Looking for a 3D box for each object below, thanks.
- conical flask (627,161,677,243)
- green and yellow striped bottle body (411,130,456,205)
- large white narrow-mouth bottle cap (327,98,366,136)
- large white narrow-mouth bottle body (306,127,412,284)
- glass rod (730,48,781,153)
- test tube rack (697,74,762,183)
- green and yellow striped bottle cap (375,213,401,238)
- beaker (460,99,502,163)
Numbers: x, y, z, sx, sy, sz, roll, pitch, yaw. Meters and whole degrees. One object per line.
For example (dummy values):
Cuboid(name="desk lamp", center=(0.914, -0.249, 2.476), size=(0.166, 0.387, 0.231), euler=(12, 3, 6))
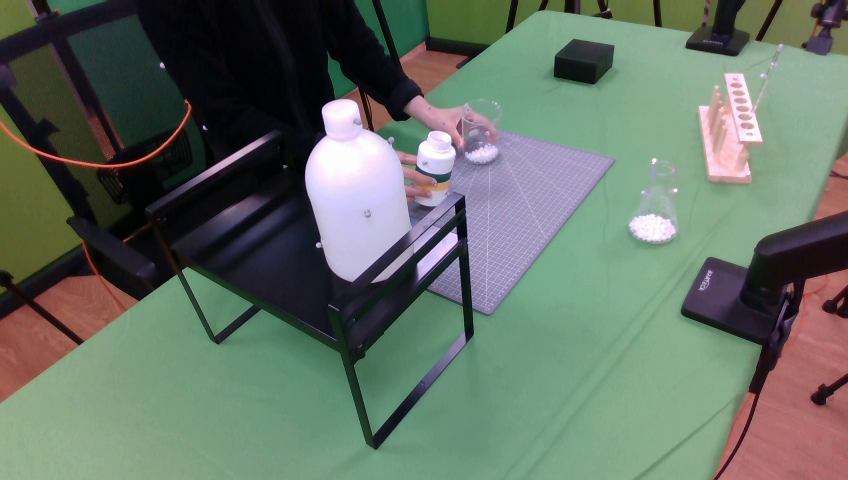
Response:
Cuboid(name="conical flask", center=(0.355, -0.061, 0.921), size=(0.075, 0.122, 0.075), euler=(-4, 41, 4))
Cuboid(name="green and yellow striped bottle body", center=(0.017, -0.123, 1.013), size=(0.063, 0.120, 0.063), euler=(7, 39, -5))
Cuboid(name="large white narrow-mouth bottle cap", center=(-0.075, -0.118, 0.581), size=(0.038, 0.024, 0.037), euler=(-3, 40, 3))
Cuboid(name="large white narrow-mouth bottle body", center=(-0.070, -0.051, 0.637), size=(0.102, 0.195, 0.101), euler=(-3, 40, 3))
Cuboid(name="glass rod", center=(0.554, -0.228, 1.015), size=(0.008, 0.200, 0.008), euler=(1, 44, -1))
Cuboid(name="test tube rack", center=(0.547, -0.208, 1.095), size=(0.066, 0.085, 0.242), euler=(5, 42, 15))
Cuboid(name="green and yellow striped bottle cap", center=(-0.061, -0.025, 1.016), size=(0.045, 0.020, 0.045), euler=(-2, 42, 2))
Cuboid(name="beaker", center=(0.109, -0.201, 1.122), size=(0.084, 0.101, 0.073), euler=(-30, 53, -19))
